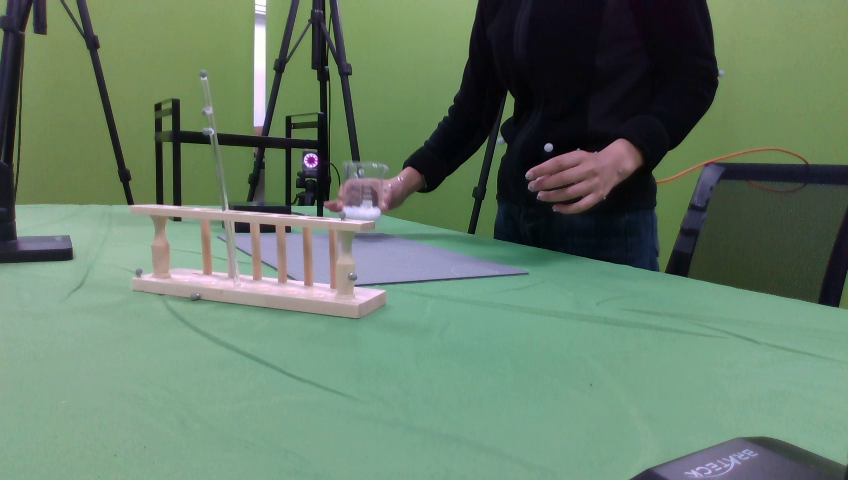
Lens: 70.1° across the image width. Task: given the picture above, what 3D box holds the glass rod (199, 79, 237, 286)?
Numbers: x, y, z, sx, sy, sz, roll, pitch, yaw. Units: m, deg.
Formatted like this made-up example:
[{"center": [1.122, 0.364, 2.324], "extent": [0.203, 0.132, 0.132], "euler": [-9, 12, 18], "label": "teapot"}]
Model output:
[{"center": [-0.194, -0.050, 0.569], "extent": [0.008, 0.199, 0.008], "euler": [-6, 8, 1], "label": "glass rod"}]

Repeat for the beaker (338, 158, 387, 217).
[{"center": [-0.108, -0.091, 1.053], "extent": [0.084, 0.100, 0.074], "euler": [1, 5, -2], "label": "beaker"}]

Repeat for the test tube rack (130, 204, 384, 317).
[{"center": [-0.162, 0.013, 0.589], "extent": [0.242, 0.085, 0.067], "euler": [4, 8, 17], "label": "test tube rack"}]
